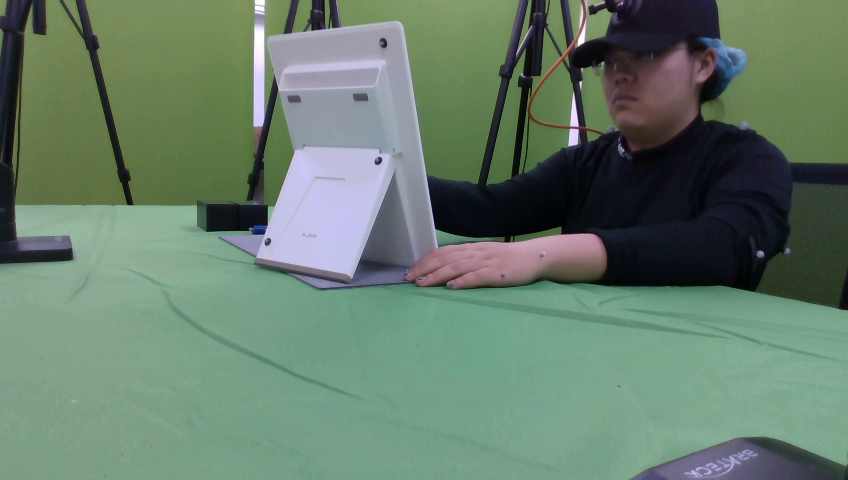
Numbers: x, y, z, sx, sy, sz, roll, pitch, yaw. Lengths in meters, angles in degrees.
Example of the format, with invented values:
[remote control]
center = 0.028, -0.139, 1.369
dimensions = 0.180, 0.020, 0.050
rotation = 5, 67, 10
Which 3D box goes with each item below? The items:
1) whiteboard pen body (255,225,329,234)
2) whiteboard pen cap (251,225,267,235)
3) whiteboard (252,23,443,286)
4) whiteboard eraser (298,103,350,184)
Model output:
[whiteboard pen body]
center = -0.239, -0.019, 1.105
dimensions = 0.141, 0.017, 0.017
rotation = -2, 9, -34
[whiteboard pen cap]
center = -0.288, -0.019, 1.071
dimensions = 0.033, 0.018, 0.018
rotation = -3, 9, -34
[whiteboard]
center = -0.125, -0.081, 0.715
dimensions = 0.216, 0.305, 0.144
rotation = 9, 29, 35
[whiteboard eraser]
center = -0.144, -0.135, 0.854
dimensions = 0.055, 0.113, 0.042
rotation = 17, 39, 41
